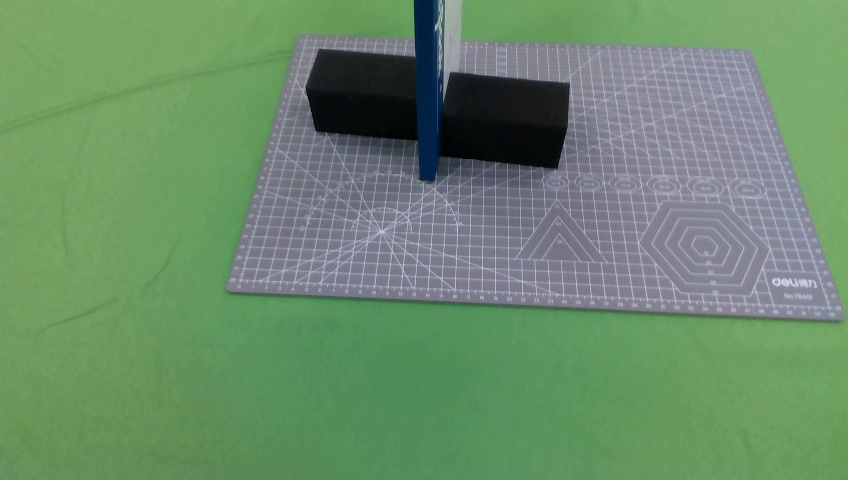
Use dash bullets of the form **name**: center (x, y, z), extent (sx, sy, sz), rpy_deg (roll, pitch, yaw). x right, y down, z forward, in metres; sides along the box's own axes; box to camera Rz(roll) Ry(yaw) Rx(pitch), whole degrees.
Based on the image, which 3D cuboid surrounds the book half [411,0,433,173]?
- **book half**: center (0.010, -0.172, 0.457), extent (0.016, 0.212, 0.147), rpy_deg (7, 57, 5)

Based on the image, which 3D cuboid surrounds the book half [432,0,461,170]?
- **book half**: center (0.017, -0.173, 0.458), extent (0.007, 0.212, 0.142), rpy_deg (8, 57, 6)
